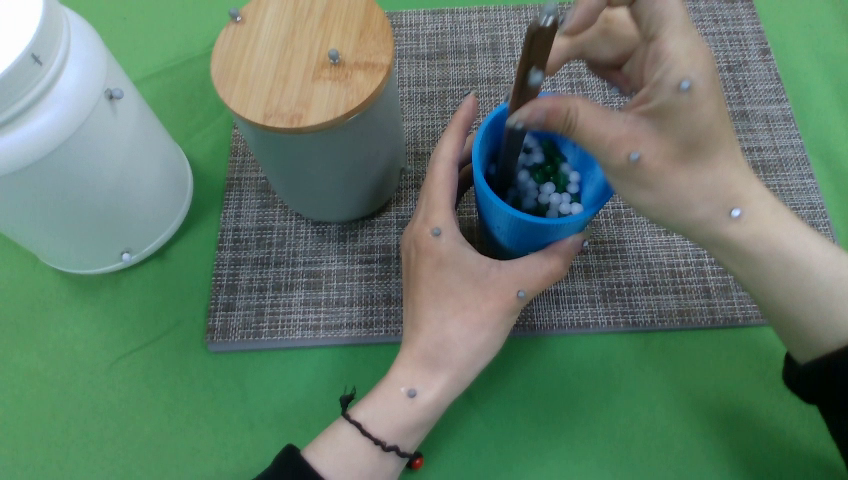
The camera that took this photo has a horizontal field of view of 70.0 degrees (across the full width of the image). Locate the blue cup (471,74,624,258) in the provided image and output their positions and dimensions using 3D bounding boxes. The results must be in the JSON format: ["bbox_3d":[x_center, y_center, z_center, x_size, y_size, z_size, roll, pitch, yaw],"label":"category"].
[{"bbox_3d":[0.069,-0.033,0.383,0.092,0.101,0.092,0,69,1],"label":"blue cup"}]

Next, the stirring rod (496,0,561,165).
[{"bbox_3d":[0.049,-0.066,0.320,0.014,0.177,0.006,-33,75,-9],"label":"stirring rod"}]

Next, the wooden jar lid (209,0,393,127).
[{"bbox_3d":[-0.071,-0.111,0.360,0.108,0.021,0.107,-2,66,5],"label":"wooden jar lid"}]

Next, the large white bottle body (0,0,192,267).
[{"bbox_3d":[-0.248,-0.073,0.391,0.130,0.186,0.129,-1,65,2],"label":"large white bottle body"}]

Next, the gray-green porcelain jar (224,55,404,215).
[{"bbox_3d":[-0.069,-0.084,0.417,0.106,0.127,0.105,-1,66,2],"label":"gray-green porcelain jar"}]

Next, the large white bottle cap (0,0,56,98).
[{"bbox_3d":[-0.252,-0.109,0.314,0.115,0.018,0.114,-1,66,2],"label":"large white bottle cap"}]
